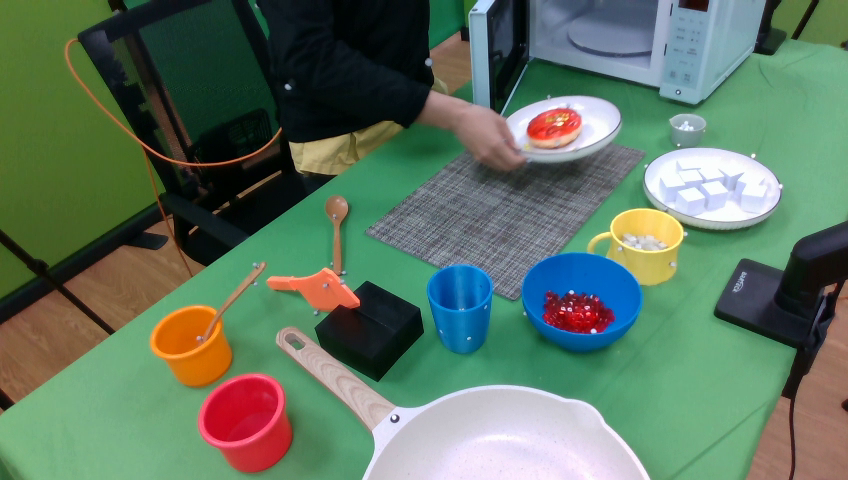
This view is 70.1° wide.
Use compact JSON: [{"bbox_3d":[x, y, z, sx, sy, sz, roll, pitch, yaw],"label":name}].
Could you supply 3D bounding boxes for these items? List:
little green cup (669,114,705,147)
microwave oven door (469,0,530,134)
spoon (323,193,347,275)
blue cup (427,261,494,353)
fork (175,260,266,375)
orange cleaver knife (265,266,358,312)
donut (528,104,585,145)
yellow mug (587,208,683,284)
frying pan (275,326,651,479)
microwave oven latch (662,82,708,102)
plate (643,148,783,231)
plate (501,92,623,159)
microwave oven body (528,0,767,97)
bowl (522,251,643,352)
[{"bbox_3d":[0.485,-0.203,1.122,0.061,0.039,0.061,-5,40,4],"label":"little green cup"},{"bbox_3d":[0.161,-0.413,1.231,0.039,0.245,0.355,9,43,18],"label":"microwave oven door"},{"bbox_3d":[-0.148,-0.014,1.008,0.042,0.022,0.192,1,40,-9],"label":"spoon"},{"bbox_3d":[0.050,0.095,0.792,0.092,0.100,0.092,-3,42,3],"label":"blue cup"},{"bbox_3d":[-0.268,0.102,0.792,0.207,0.019,0.028,-51,41,16],"label":"fork"},{"bbox_3d":[-0.164,0.073,0.864,0.210,0.077,0.012,-6,30,50],"label":"orange cleaver knife"},{"bbox_3d":[0.229,-0.202,1.050,0.099,0.048,0.098,-13,35,10],"label":"donut"},{"bbox_3d":[0.305,0.009,0.884,0.131,0.064,0.099,-4,41,5],"label":"yellow mug"},{"bbox_3d":[0.004,0.229,0.641,0.484,0.103,0.308,34,54,28],"label":"frying pan"},{"bbox_3d":[0.517,-0.298,1.202,0.078,0.029,0.030,27,52,34],"label":"microwave oven latch"},{"bbox_3d":[0.465,-0.080,0.986,0.207,0.039,0.206,-4,41,4],"label":"plate"},{"bbox_3d":[0.240,-0.196,1.057,0.209,0.038,0.208,-10,36,8],"label":"plate"},{"bbox_3d":[0.473,-0.516,1.313,0.438,0.261,0.327,26,51,34],"label":"microwave oven body"},{"bbox_3d":[0.204,0.093,0.792,0.151,0.077,0.150,-4,40,4],"label":"bowl"}]
